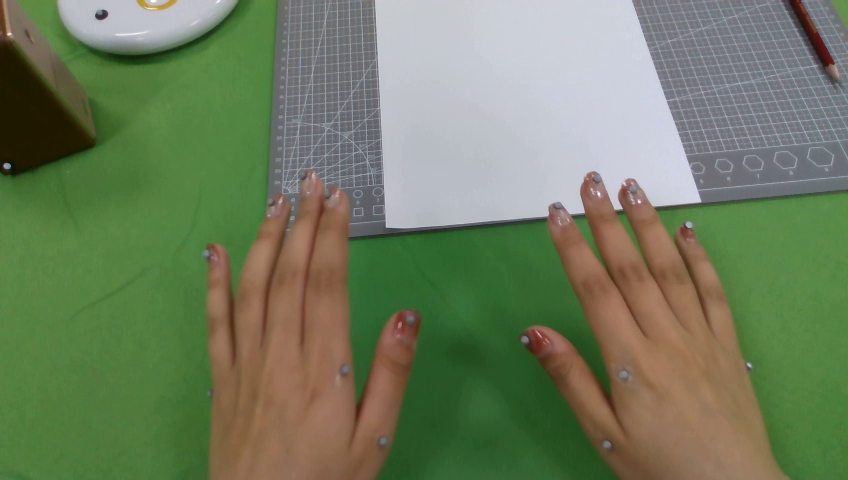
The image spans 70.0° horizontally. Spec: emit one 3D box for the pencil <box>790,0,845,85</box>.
[{"bbox_3d":[0.297,-0.198,0.488,0.012,0.012,0.192,-6,62,0],"label":"pencil"}]

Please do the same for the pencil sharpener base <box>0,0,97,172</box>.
[{"bbox_3d":[-0.291,-0.107,0.415,0.077,0.108,0.061,-24,63,-9],"label":"pencil sharpener base"}]

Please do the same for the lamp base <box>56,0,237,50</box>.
[{"bbox_3d":[-0.246,-0.270,0.461,0.160,0.182,0.177,-33,62,-15],"label":"lamp base"}]
